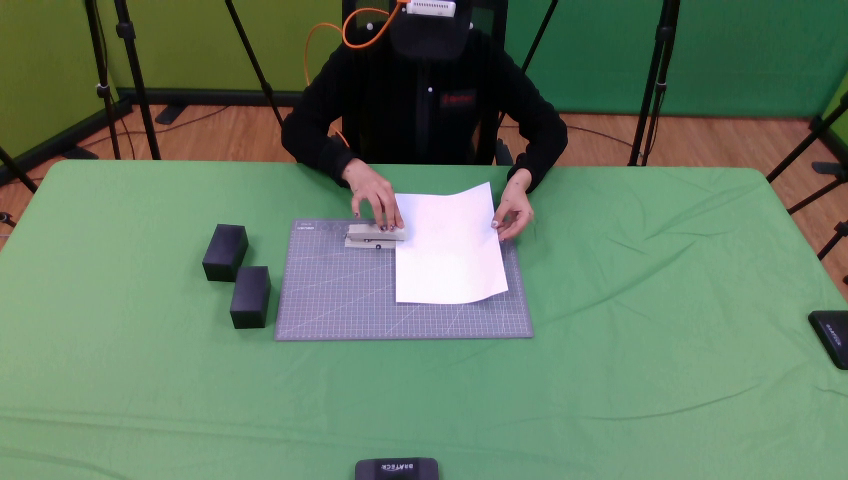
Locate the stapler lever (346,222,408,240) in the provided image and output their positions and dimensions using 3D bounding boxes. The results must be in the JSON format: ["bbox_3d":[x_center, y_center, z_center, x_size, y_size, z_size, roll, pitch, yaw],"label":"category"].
[{"bbox_3d":[-0.090,-0.018,1.180,0.118,0.040,0.026,6,43,-7],"label":"stapler lever"}]

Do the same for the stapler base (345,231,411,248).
[{"bbox_3d":[-0.090,-0.006,1.192,0.130,0.024,0.041,0,44,-1],"label":"stapler base"}]
